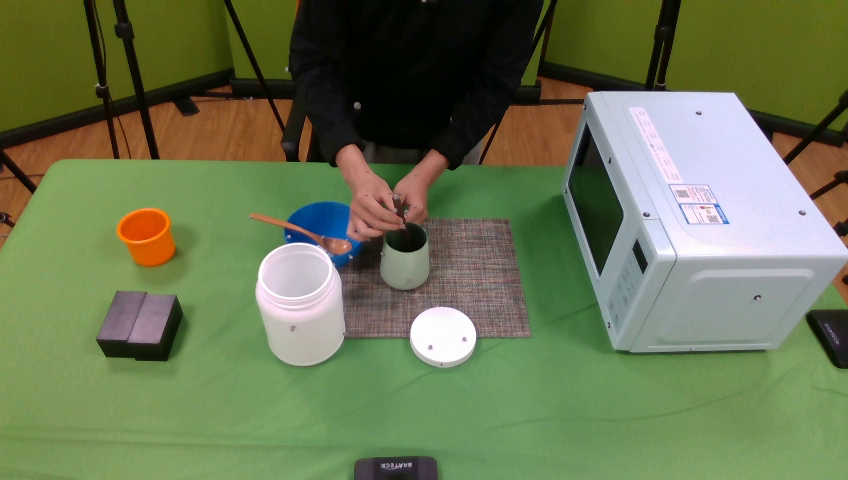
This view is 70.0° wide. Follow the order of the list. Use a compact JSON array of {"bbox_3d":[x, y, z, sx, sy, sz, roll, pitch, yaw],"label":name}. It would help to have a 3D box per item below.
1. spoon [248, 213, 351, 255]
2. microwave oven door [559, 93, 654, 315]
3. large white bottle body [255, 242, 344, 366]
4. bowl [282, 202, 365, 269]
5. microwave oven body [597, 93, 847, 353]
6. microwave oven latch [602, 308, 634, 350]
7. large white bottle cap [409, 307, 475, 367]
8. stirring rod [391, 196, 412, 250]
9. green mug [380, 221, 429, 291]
[{"bbox_3d":[-0.228,-0.015,1.113,0.194,0.022,0.041,23,40,-15],"label":"spoon"},{"bbox_3d":[0.327,-0.074,1.123,0.039,0.245,0.353,-1,46,-5],"label":"microwave oven door"},{"bbox_3d":[-0.196,0.102,0.967,0.131,0.185,0.130,2,49,-2],"label":"large white bottle body"},{"bbox_3d":[-0.186,0.006,1.136,0.151,0.077,0.150,3,46,-3],"label":"bowl"},{"bbox_3d":[0.475,-0.041,1.110,0.326,0.261,0.438,-1,45,-4],"label":"microwave oven body"},{"bbox_3d":[0.332,0.153,1.044,0.030,0.029,0.078,-1,45,-5],"label":"microwave oven latch"},{"bbox_3d":[0.031,0.165,1.041,0.115,0.018,0.114,2,47,-2],"label":"large white bottle cap"},{"bbox_3d":[-0.037,-0.026,1.037,0.014,0.177,0.006,15,64,14],"label":"stirring rod"},{"bbox_3d":[-0.043,0.020,1.116,0.092,0.105,0.124,-20,50,-21],"label":"green mug"}]
